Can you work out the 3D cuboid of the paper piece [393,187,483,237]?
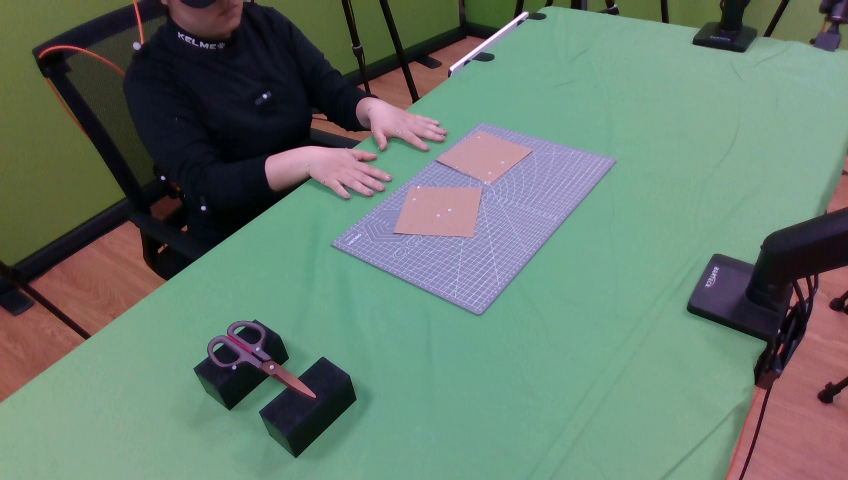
[{"bbox_3d":[0.027,-0.051,1.033,0.135,0.004,0.135,3,41,12],"label":"paper piece"}]

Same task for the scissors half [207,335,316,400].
[{"bbox_3d":[-0.201,0.159,0.741,0.174,0.013,0.040,18,39,23],"label":"scissors half"}]

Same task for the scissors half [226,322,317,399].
[{"bbox_3d":[-0.189,0.149,0.754,0.040,0.013,0.173,-34,49,-31],"label":"scissors half"}]

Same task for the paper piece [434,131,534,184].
[{"bbox_3d":[0.114,-0.161,1.151,0.135,0.009,0.139,31,52,32],"label":"paper piece"}]
